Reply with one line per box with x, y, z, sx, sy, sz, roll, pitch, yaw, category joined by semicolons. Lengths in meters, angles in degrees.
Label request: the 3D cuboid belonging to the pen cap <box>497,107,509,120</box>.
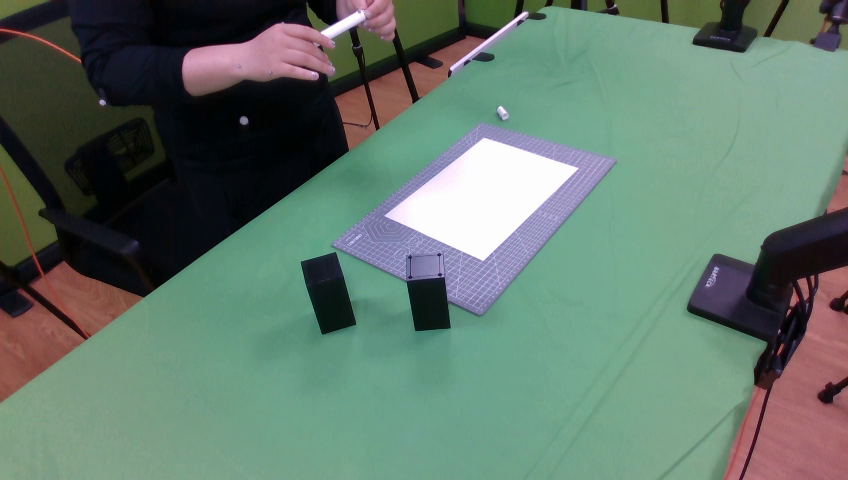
0.164;-0.264;1.261;0.017;0.017;0.038;-14;41;-7;pen cap

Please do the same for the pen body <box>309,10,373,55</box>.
-0.128;-0.332;0.959;0.017;0.017;0.144;23;55;32;pen body
